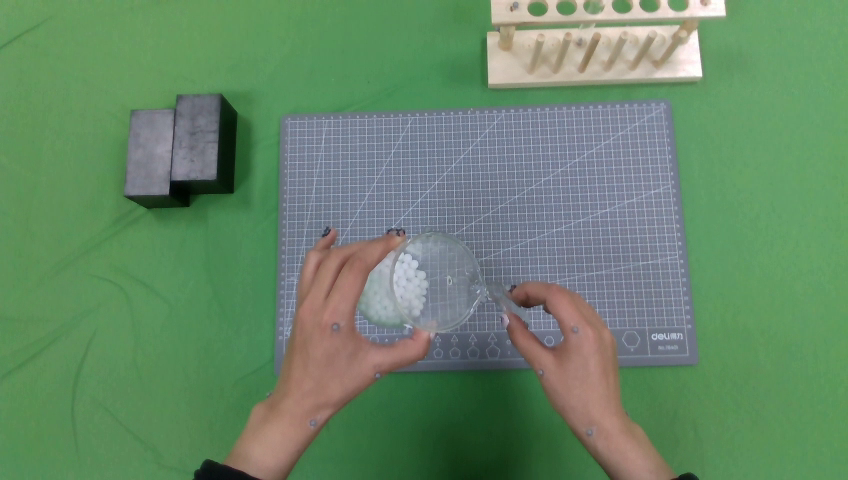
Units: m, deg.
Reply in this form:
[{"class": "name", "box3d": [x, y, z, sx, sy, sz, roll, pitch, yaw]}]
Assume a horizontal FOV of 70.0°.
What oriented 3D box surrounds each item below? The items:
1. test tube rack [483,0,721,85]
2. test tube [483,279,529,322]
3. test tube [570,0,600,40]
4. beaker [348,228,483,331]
[{"class": "test tube rack", "box3d": [0.189, -0.226, 0.670, 0.242, 0.085, 0.066, -2, 79, 2]}, {"class": "test tube", "box3d": [0.077, 0.057, 0.548, 0.017, 0.151, 0.017, -5, 74, 17]}, {"class": "test tube", "box3d": [0.175, -0.253, 0.626, 0.017, 0.151, 0.017, 0, 75, 0]}, {"class": "beaker", "box3d": [-0.011, 0.034, 0.480, 0.084, 0.100, 0.073, 9, 80, -25]}]
